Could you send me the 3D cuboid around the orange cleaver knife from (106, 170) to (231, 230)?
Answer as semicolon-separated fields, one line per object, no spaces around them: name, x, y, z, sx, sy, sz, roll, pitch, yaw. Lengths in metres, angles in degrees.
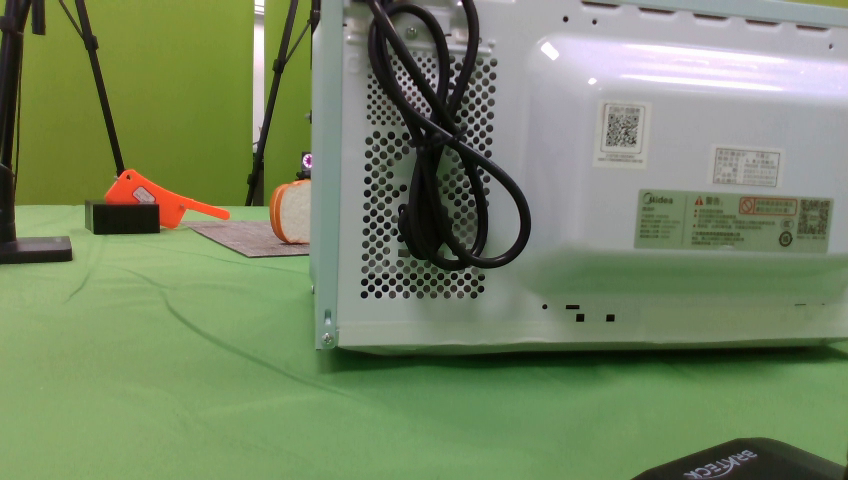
orange cleaver knife;-0.458;-0.060;1.097;0.212;0.077;0.012;23;-4;-38

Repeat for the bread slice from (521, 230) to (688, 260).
bread slice;0.173;0.004;0.564;0.134;0.018;0.107;-3;4;30

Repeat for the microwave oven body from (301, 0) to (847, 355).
microwave oven body;0.120;-0.053;0.535;0.443;0.260;0.325;2;7;-11

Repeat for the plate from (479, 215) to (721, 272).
plate;0.153;0.000;0.545;0.208;0.039;0.207;0;5;0

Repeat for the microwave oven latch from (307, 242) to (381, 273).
microwave oven latch;-0.086;0.019;0.656;0.079;0.029;0.030;2;7;-10

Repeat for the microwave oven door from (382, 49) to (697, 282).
microwave oven door;0.135;-0.077;0.685;0.357;0.243;0.039;1;8;-12
